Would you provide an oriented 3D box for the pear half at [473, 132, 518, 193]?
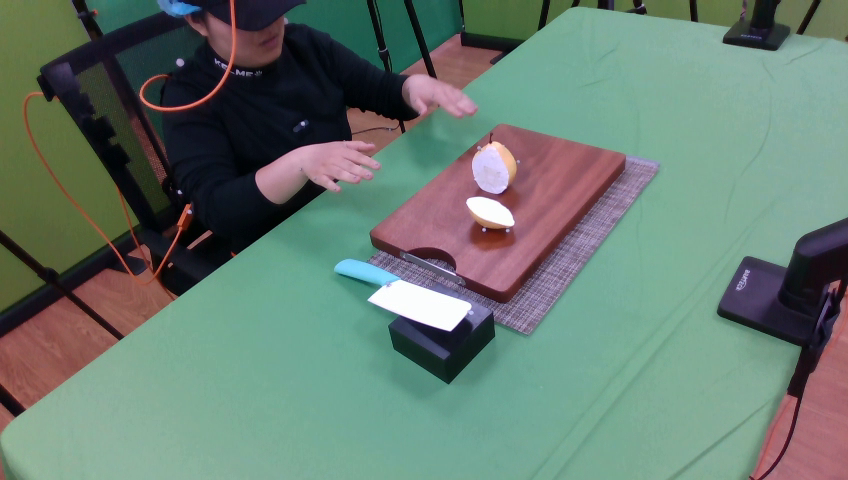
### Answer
[{"bbox_3d":[0.123,-0.139,1.015,0.076,0.110,0.056,17,47,23],"label":"pear half"}]

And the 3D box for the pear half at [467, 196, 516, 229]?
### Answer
[{"bbox_3d":[0.105,-0.037,0.956,0.071,0.031,0.087,-23,53,-37],"label":"pear half"}]

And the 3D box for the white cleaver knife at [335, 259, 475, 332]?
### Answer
[{"bbox_3d":[-0.045,0.072,0.859,0.066,0.021,0.284,-36,32,-31],"label":"white cleaver knife"}]
